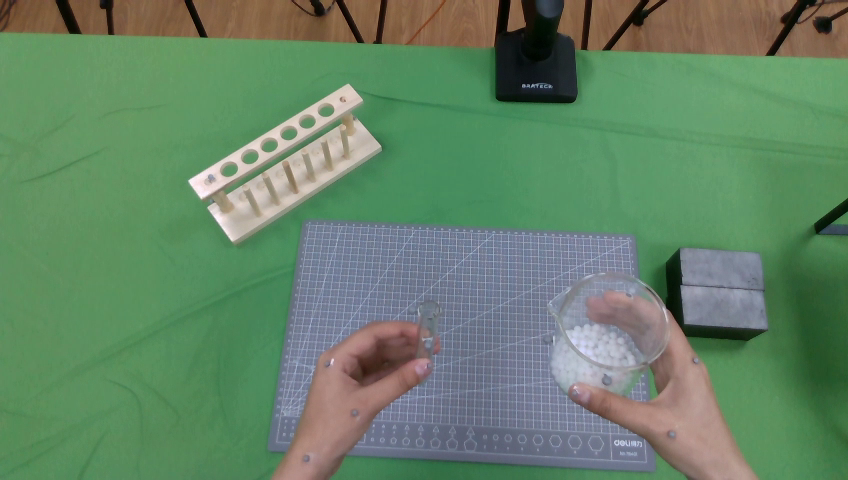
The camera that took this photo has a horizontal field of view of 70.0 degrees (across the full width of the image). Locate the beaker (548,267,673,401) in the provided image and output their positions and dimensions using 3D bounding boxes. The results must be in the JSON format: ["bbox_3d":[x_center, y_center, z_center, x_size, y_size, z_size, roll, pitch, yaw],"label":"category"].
[{"bbox_3d":[0.131,0.076,0.458,0.084,0.101,0.073,13,61,12],"label":"beaker"}]

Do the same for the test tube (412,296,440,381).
[{"bbox_3d":[0.000,0.084,0.488,0.017,0.151,0.017,2,59,-2],"label":"test tube"}]

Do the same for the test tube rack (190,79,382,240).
[{"bbox_3d":[-0.176,-0.107,0.809,0.242,0.086,0.066,-36,71,-14],"label":"test tube rack"}]
